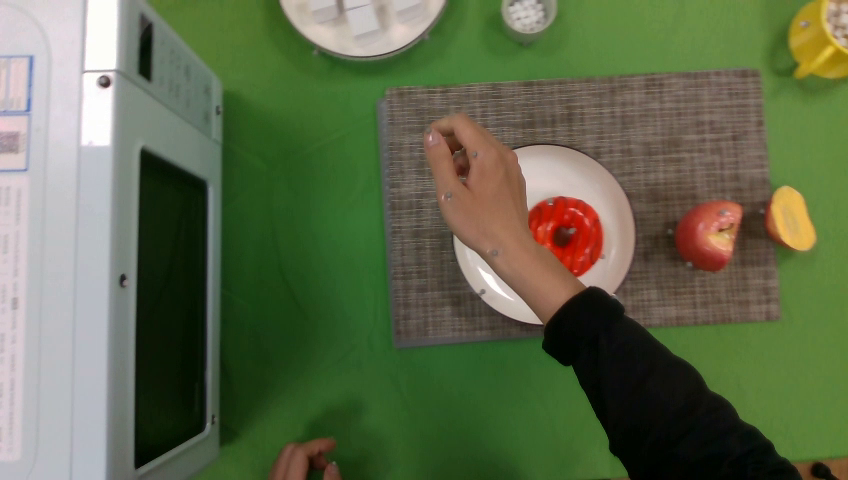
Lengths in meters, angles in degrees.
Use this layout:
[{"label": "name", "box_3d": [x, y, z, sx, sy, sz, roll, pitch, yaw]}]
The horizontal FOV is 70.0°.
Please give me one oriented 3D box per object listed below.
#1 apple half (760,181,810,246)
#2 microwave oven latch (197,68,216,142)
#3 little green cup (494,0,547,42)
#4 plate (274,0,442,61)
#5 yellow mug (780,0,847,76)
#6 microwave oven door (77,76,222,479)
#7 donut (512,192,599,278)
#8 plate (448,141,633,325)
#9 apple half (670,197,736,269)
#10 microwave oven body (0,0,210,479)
[{"label": "apple half", "box_3d": [0.405, -0.026, 0.695, 0.082, 0.033, 0.081, 11, 70, -29]}, {"label": "microwave oven latch", "box_3d": [-0.255, -0.154, 0.695, 0.030, 0.029, 0.079, 0, 86, 0]}, {"label": "little green cup", "box_3d": [0.112, -0.267, 0.719, 0.061, 0.039, 0.061, 0, 85, 1]}, {"label": "plate", "box_3d": [-0.077, -0.311, 0.724, 0.208, 0.039, 0.207, 0, 86, 1]}, {"label": "yellow mug", "box_3d": [0.469, -0.240, 0.700, 0.100, 0.064, 0.131, 43, 88, 3]}, {"label": "microwave oven door", "box_3d": [-0.252, 0.056, 0.578, 0.039, 0.244, 0.355, -2, 85, 1]}, {"label": "donut", "box_3d": [0.149, -0.005, 0.685, 0.099, 0.048, 0.099, 0, 88, 1]}, {"label": "plate", "box_3d": [0.131, -0.008, 0.696, 0.209, 0.038, 0.208, 0, 86, 1]}, {"label": "apple half", "box_3d": [0.305, -0.011, 0.678, 0.053, 0.075, 0.081, 15, 89, 5]}, {"label": "microwave oven body", "box_3d": [-0.399, 0.018, 0.587, 0.326, 0.260, 0.440, -2, 86, 0]}]
